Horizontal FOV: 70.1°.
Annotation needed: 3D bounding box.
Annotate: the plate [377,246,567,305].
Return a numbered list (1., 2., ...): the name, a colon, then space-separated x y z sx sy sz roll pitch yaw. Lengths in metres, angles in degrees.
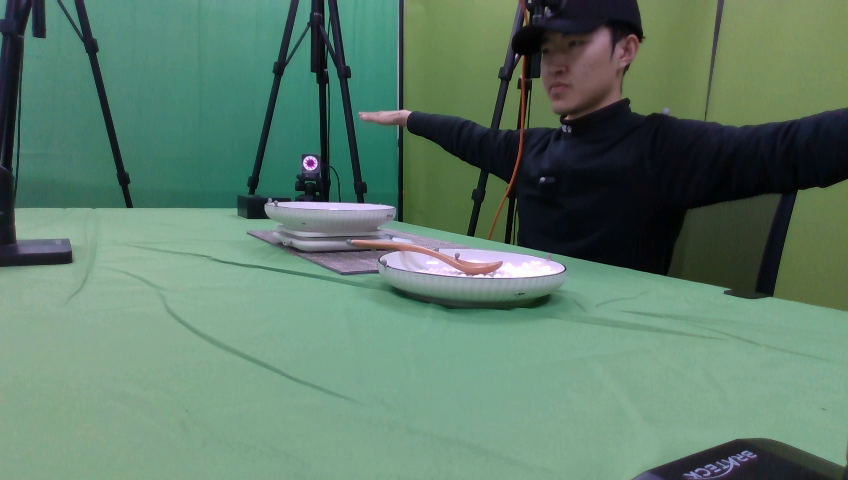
1. plate: 0.052 0.039 0.671 0.209 0.038 0.209 2 6 0

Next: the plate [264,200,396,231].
1. plate: -0.150 -0.040 0.972 0.208 0.039 0.207 2 7 0

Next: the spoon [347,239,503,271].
1. spoon: -0.002 0.014 0.721 0.193 0.021 0.042 12 9 17

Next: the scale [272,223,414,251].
1. scale: -0.131 -0.008 0.984 0.202 0.031 0.148 -2 8 -32
